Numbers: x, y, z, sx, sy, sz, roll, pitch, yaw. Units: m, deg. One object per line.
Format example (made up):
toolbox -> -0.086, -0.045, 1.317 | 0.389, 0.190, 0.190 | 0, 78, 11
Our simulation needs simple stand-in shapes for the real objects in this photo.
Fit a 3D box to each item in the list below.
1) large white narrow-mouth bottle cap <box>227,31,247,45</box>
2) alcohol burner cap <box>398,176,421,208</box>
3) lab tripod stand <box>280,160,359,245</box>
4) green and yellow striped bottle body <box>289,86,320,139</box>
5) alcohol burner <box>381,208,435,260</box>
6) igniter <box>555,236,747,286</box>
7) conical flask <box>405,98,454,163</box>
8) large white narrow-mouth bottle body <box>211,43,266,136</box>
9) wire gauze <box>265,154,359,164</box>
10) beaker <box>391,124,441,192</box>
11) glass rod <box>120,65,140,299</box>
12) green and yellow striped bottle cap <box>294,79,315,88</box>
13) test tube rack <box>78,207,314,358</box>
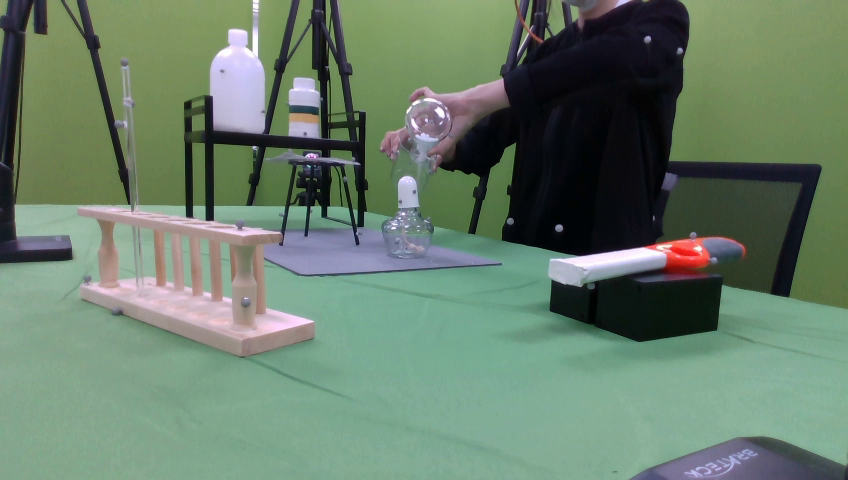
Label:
large white narrow-mouth bottle cap -> -0.361, -0.389, 1.166 | 0.038, 0.024, 0.037 | 1, 7, 0
alcohol burner cap -> -0.023, -0.068, 0.866 | 0.034, 0.048, 0.034 | -5, 8, 1
lab tripod stand -> -0.176, -0.062, 0.973 | 0.148, 0.131, 0.148 | 1, 7, 0
green and yellow striped bottle body -> -0.250, -0.272, 1.261 | 0.063, 0.119, 0.063 | 3, 7, 0
alcohol burner -> -0.023, -0.032, 0.871 | 0.078, 0.119, 0.078 | 0, 6, 0
igniter -> 0.221, 0.017, 0.558 | 0.278, 0.025, 0.057 | -5, 15, -39
conical flask -> 0.003, -0.167, 0.972 | 0.075, 0.075, 0.122 | 1, -20, -7
large white narrow-mouth bottle body -> -0.361, -0.302, 1.176 | 0.102, 0.194, 0.102 | 1, 7, 0
wire gauze -> -0.181, -0.129, 0.969 | 0.126, 0.011, 0.121 | -1, 7, -27
beaker -> -0.015, -0.137, 1.051 | 0.074, 0.100, 0.083 | -28, 64, -32
glass rod -> -0.249, -0.047, 0.512 | 0.008, 0.199, 0.008 | -1, 4, 0
green and yellow striped bottle cap -> -0.248, -0.323, 1.256 | 0.045, 0.020, 0.045 | 3, 9, 0
test tube rack -> -0.196, 0.024, 0.500 | 0.241, 0.085, 0.067 | 8, 8, 37
